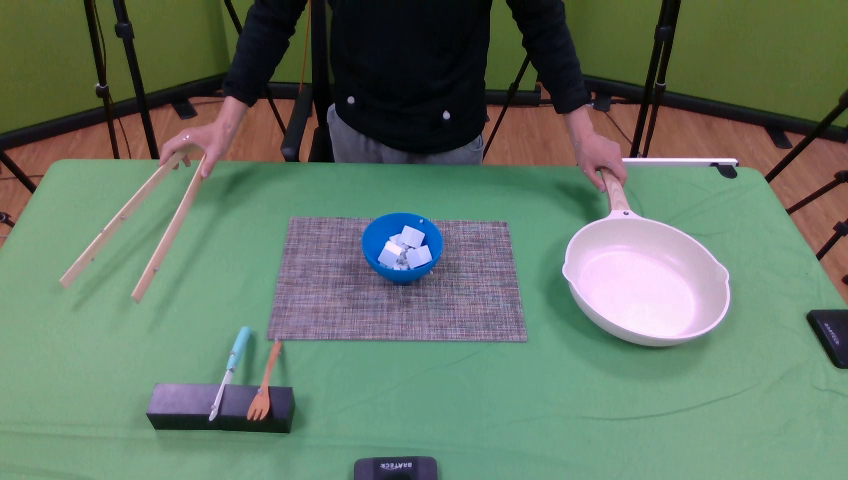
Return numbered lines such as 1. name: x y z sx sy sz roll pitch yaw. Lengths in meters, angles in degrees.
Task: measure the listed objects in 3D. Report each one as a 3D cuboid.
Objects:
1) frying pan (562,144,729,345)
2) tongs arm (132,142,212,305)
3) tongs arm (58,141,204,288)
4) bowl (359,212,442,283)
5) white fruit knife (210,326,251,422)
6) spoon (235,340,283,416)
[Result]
1. frying pan: 0.396 -0.008 1.179 0.307 0.103 0.484 1 55 -4
2. tongs arm: -0.464 -0.045 1.133 0.028 0.028 0.385 2 51 8
3. tongs arm: -0.539 -0.059 1.144 0.050 0.026 0.383 13 52 12
4. bowl: -0.044 0.026 1.125 0.151 0.077 0.150 2 46 -2
5. white fruit knife: -0.300 0.201 0.941 0.016 0.027 0.206 -2 32 1
6. spoon: -0.244 0.207 0.932 0.042 0.022 0.193 27 25 -8
